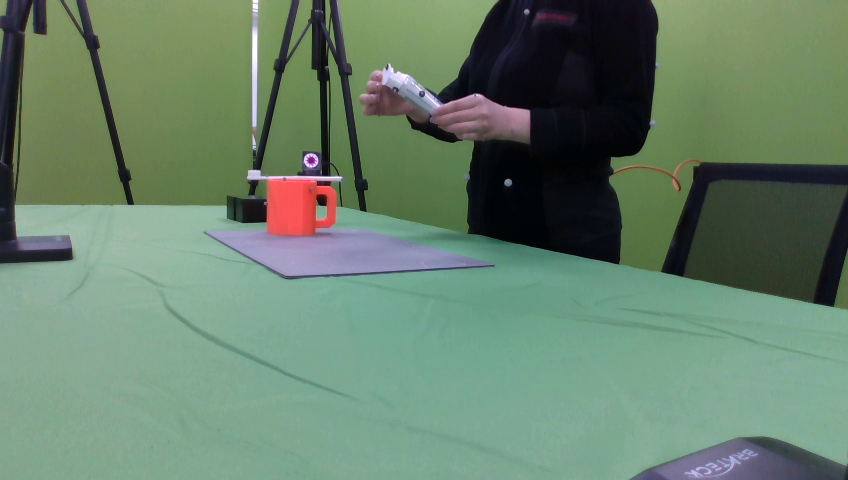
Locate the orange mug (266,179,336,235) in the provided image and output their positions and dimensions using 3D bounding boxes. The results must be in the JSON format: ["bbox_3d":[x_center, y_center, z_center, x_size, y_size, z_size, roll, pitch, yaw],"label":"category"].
[{"bbox_3d":[-0.222,-0.062,1.094,0.127,0.101,0.083,-5,10,-22],"label":"orange mug"}]

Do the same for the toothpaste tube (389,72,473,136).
[{"bbox_3d":[0.013,-0.224,1.001,0.165,0.034,0.055,32,25,-13],"label":"toothpaste tube"}]

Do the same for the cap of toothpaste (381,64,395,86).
[{"bbox_3d":[-0.058,-0.268,0.982,0.011,0.037,0.037,10,3,-30],"label":"cap of toothpaste"}]

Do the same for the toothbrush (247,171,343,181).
[{"bbox_3d":[-0.230,-0.115,1.092,0.183,0.016,0.014,-2,6,-35],"label":"toothbrush"}]
